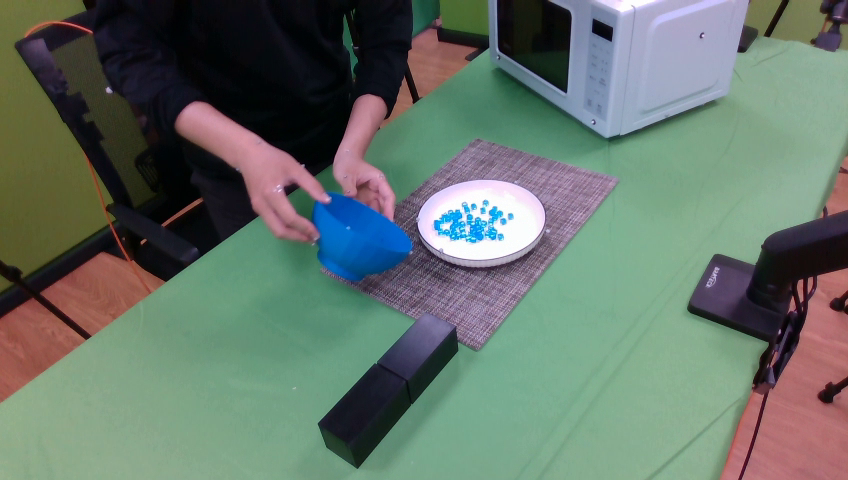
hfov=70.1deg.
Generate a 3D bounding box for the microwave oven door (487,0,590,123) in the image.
[{"bbox_3d":[0.232,-0.420,1.231,0.039,0.245,0.352,-22,43,-16],"label":"microwave oven door"}]

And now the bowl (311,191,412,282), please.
[{"bbox_3d":[-0.100,0.005,0.842,0.152,0.077,0.151,30,15,-8],"label":"bowl"}]

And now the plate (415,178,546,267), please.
[{"bbox_3d":[0.091,-0.026,0.970,0.207,0.039,0.206,-4,41,4],"label":"plate"}]

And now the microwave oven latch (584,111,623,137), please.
[{"bbox_3d":[0.337,-0.222,1.142,0.030,0.029,0.078,-21,42,-14],"label":"microwave oven latch"}]

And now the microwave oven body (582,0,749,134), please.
[{"bbox_3d":[0.382,-0.445,1.246,0.327,0.261,0.437,-22,42,-16],"label":"microwave oven body"}]
